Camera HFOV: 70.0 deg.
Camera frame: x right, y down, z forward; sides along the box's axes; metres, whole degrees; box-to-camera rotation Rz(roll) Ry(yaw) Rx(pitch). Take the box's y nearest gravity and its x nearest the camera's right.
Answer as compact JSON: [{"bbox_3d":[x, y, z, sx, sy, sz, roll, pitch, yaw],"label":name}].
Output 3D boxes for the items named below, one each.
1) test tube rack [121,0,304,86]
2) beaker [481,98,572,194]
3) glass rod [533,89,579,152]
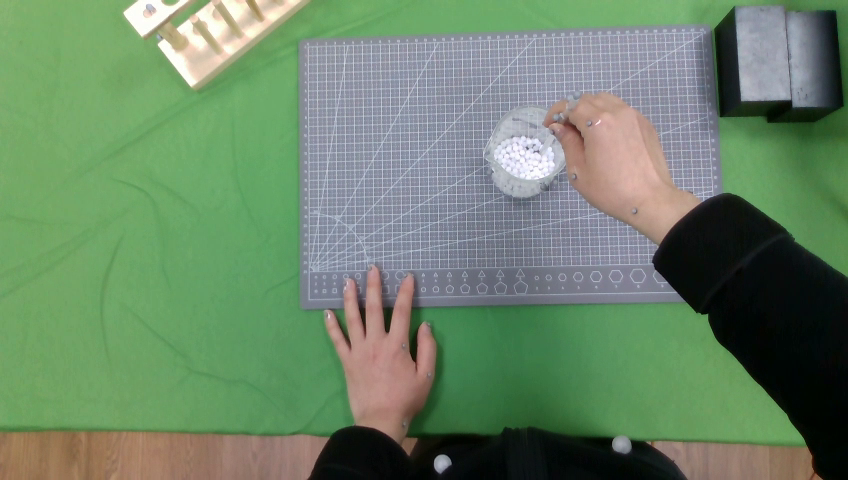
[{"bbox_3d":[-0.184,-0.276,0.638,0.242,0.085,0.066,-39,84,-2],"label":"test tube rack"},{"bbox_3d":[0.097,-0.087,0.602,0.084,0.100,0.074,-12,83,2],"label":"beaker"},{"bbox_3d":[0.115,-0.104,0.547,0.008,0.200,0.008,0,86,2],"label":"glass rod"}]
